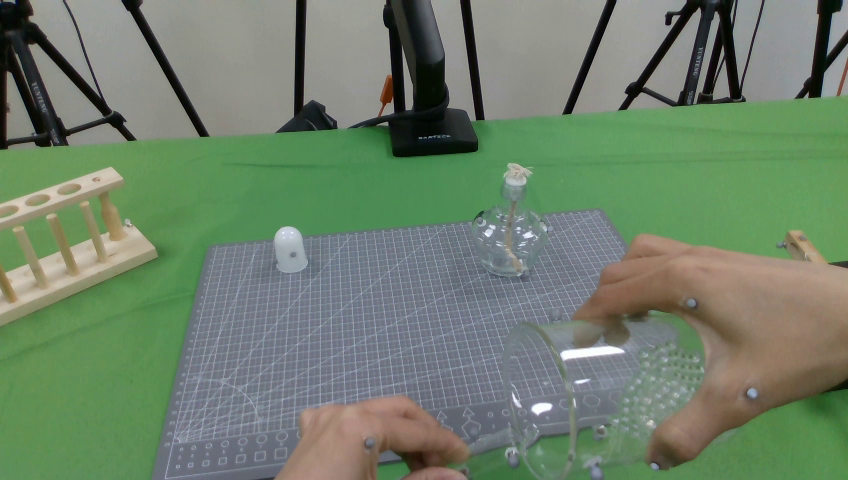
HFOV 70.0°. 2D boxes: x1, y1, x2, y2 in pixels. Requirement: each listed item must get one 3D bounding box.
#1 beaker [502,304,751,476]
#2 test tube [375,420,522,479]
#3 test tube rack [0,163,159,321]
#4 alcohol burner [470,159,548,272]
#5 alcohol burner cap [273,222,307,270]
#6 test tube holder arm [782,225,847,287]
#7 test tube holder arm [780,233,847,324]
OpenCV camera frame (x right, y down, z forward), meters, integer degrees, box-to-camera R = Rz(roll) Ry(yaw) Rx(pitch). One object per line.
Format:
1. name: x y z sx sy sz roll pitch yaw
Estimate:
1. beaker: 0.098 0.072 0.301 0.100 0.084 0.073 -4 50 -15
2. test tube: -0.014 0.135 0.335 0.150 0.017 0.017 -29 34 15
3. test tube rack: -0.396 0.015 0.579 0.242 0.086 0.066 -29 46 -32
4. alcohol burner: 0.085 -0.027 0.600 0.078 0.120 0.077 1 37 0
5. alcohol burner cap: -0.140 0.004 0.622 0.034 0.048 0.033 -1 37 1
6. test tube holder arm: 0.343 0.015 0.533 0.015 0.010 0.087 0 37 1
7. test tube holder arm: 0.342 0.046 0.500 0.015 0.013 0.176 0 37 1
